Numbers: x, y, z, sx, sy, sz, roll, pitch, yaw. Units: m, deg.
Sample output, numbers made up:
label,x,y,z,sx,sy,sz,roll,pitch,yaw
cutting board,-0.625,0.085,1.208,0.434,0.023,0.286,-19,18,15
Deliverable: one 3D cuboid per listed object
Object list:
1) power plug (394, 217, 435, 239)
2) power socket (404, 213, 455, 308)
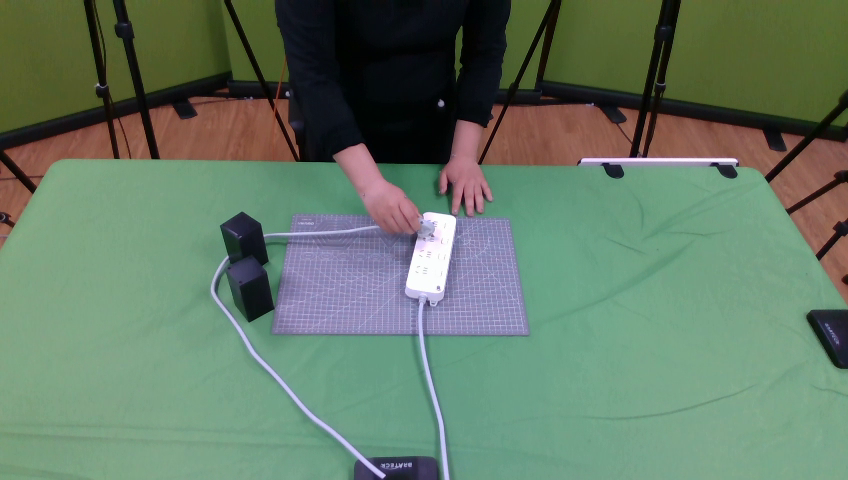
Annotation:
label,x,y,z,sx,sy,sz,roll,pitch,yaw
power plug,-0.013,-0.025,1.161,0.072,0.053,0.035,15,60,30
power socket,0.013,0.029,1.159,0.072,0.033,0.225,8,46,5
